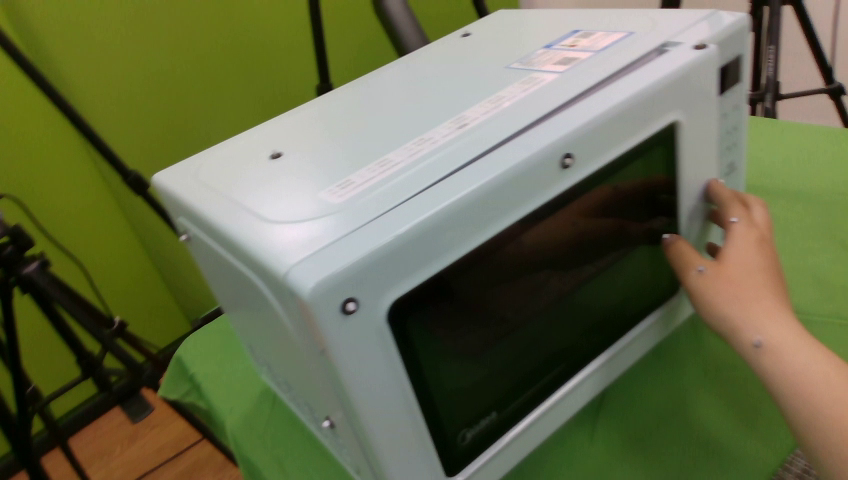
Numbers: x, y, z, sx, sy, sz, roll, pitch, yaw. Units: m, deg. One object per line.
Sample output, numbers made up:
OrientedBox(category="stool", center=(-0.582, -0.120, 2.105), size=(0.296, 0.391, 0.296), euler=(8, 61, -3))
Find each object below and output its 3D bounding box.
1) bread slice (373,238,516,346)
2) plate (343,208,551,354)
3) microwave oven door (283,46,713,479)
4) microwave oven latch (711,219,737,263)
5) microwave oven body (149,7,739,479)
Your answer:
OrientedBox(category="bread slice", center=(0.023, 0.042, 0.602), size=(0.131, 0.019, 0.104), euler=(-30, 34, -16))
OrientedBox(category="plate", center=(0.023, 0.040, 0.596), size=(0.209, 0.038, 0.207), euler=(-14, 31, 9))
OrientedBox(category="microwave oven door", center=(0.095, 0.036, 0.454), size=(0.356, 0.246, 0.039), euler=(-32, 34, -23))
OrientedBox(category="microwave oven latch", center=(0.282, 0.007, 0.608), size=(0.079, 0.030, 0.030), euler=(-33, 35, -23))
OrientedBox(category="microwave oven body", center=(0.034, -0.023, 0.590), size=(0.441, 0.262, 0.323), euler=(-35, 35, -25))
